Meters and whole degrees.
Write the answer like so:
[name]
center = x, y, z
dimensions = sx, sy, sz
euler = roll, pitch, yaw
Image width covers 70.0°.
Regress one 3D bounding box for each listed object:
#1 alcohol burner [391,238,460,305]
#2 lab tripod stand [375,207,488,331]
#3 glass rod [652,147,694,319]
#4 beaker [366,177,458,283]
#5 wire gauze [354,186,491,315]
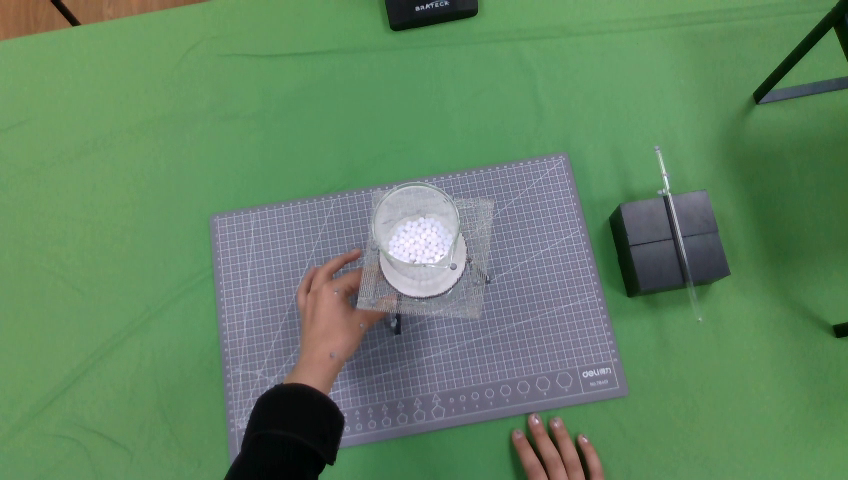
[alcohol burner]
center = 0.001, 0.031, 0.663
dimensions = 0.078, 0.119, 0.077
euler = -1, 77, 4
[lab tripod stand]
center = -0.004, 0.025, 0.655
dimensions = 0.148, 0.132, 0.147
euler = -1, 75, 4
[glass rod]
center = 0.277, -0.011, 0.674
dimensions = 0.008, 0.008, 0.198
euler = -7, 76, 0
[beaker]
center = -0.005, -0.002, 0.544
dimensions = 0.074, 0.101, 0.083
euler = -37, 77, -7
[wire gauze]
center = 0.000, 0.009, 0.591
dimensions = 0.121, 0.011, 0.124
euler = 7, 74, 3
